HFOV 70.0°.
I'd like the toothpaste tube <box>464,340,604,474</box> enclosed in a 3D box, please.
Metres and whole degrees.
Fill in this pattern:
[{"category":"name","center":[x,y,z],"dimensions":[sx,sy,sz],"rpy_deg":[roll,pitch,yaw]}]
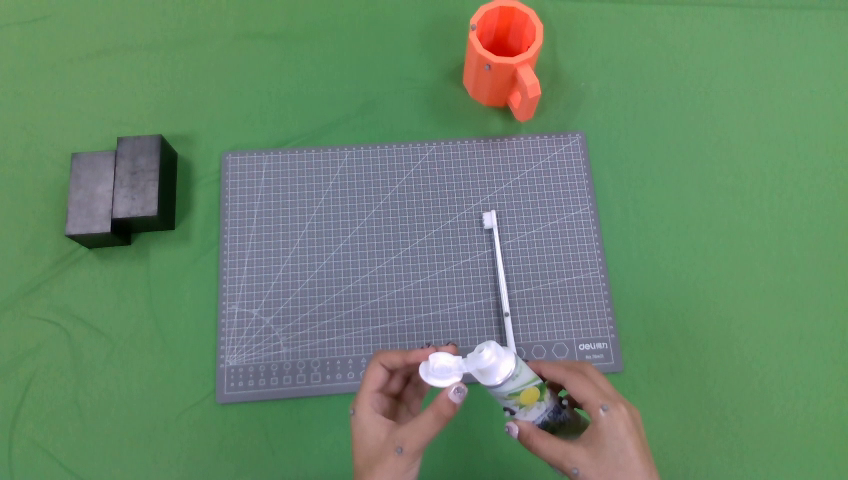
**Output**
[{"category":"toothpaste tube","center":[0.088,0.135,0.492],"dimensions":[0.055,0.034,0.166],"rpy_deg":[-42,117,4]}]

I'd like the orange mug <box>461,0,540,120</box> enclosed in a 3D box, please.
[{"category":"orange mug","center":[0.098,-0.212,0.734],"dimensions":[0.083,0.101,0.125],"rpy_deg":[-25,71,-8]}]

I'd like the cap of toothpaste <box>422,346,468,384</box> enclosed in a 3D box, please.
[{"category":"cap of toothpaste","center":[0.016,0.094,0.464],"dimensions":[0.037,0.011,0.037],"rpy_deg":[4,38,-2]}]

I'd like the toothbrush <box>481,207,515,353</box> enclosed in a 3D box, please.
[{"category":"toothbrush","center":[0.086,0.048,0.698],"dimensions":[0.016,0.014,0.180],"rpy_deg":[-8,74,1]}]
